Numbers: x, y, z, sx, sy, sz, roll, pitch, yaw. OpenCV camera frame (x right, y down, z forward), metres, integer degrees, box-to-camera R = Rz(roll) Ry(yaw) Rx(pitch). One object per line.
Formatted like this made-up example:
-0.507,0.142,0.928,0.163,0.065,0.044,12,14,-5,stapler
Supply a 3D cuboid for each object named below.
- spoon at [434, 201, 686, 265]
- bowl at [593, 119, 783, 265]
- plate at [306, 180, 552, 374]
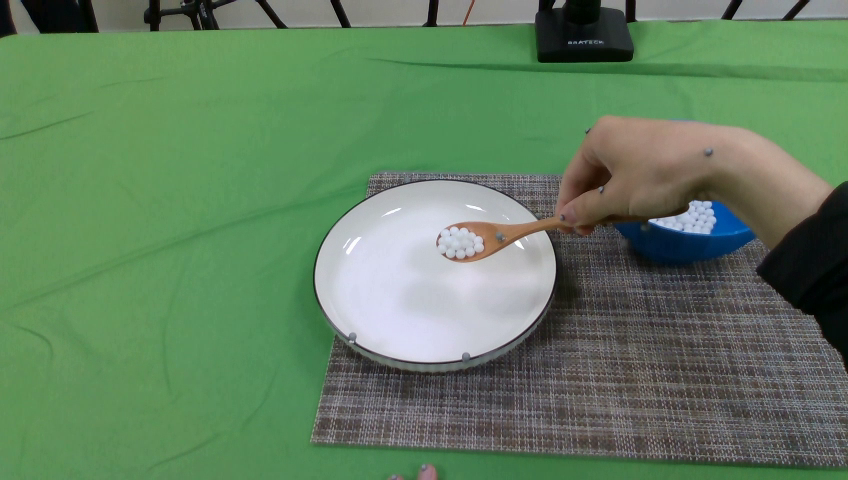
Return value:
0.094,-0.008,0.458,0.193,0.022,0.041,-11,46,32,spoon
0.222,-0.031,0.537,0.151,0.077,0.150,-2,47,2,bowl
0.005,0.030,0.527,0.207,0.039,0.205,-2,47,3,plate
